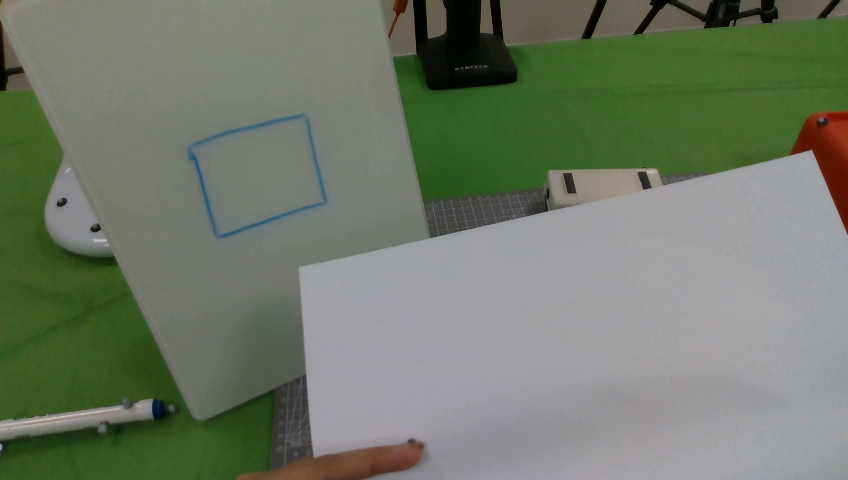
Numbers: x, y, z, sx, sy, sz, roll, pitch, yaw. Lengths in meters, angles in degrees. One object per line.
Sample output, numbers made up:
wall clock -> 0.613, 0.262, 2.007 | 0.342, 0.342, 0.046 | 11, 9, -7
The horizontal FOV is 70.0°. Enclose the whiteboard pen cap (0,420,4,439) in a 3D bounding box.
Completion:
whiteboard pen cap -> -0.326, 0.140, 0.442 | 0.033, 0.018, 0.018 | -5, 44, -12

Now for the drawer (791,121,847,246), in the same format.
drawer -> 0.486, -0.030, 0.552 | 0.194, 0.074, 0.209 | -5, 44, -2

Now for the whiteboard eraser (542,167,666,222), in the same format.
whiteboard eraser -> 0.176, -0.044, 0.599 | 0.113, 0.042, 0.055 | -1, 43, 1

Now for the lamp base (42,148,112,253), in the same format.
lamp base -> -0.320, -0.104, 0.580 | 0.178, 0.182, 0.160 | 23, 50, 26

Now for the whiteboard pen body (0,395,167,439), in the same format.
whiteboard pen body -> -0.267, 0.134, 0.451 | 0.141, 0.017, 0.017 | -6, 45, -10

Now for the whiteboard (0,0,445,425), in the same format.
whiteboard -> -0.133, -0.055, 0.477 | 0.217, 0.308, 0.142 | -22, 29, -18

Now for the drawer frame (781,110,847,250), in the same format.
drawer frame -> 0.485, -0.035, 0.556 | 0.202, 0.083, 0.211 | -6, 44, -3
